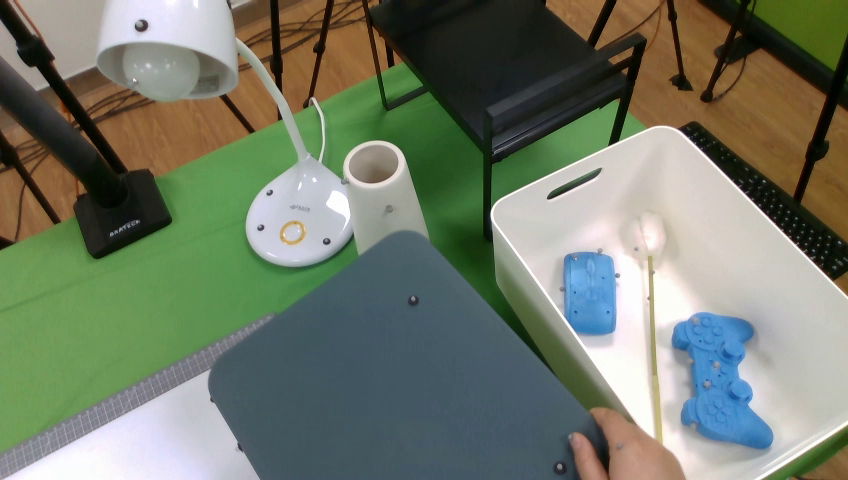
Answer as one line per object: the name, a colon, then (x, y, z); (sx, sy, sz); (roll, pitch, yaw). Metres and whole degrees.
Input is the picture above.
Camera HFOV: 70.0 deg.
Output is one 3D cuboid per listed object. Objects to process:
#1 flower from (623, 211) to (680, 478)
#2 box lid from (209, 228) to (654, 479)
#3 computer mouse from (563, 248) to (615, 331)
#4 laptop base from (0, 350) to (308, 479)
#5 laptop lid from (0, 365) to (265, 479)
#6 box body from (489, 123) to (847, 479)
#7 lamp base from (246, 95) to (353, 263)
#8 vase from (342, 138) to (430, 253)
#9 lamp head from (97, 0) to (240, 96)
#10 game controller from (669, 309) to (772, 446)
flower: (0.278, 0.122, 0.722); (0.044, 0.038, 0.358); (-15, 54, 28)
box lid: (-0.007, 0.170, 0.544); (0.263, 0.015, 0.368); (-36, 63, -13)
computer mouse: (0.206, 0.058, 0.758); (0.062, 0.041, 0.116); (3, 55, 11)
laptop base: (-0.313, 0.300, 0.668); (0.354, 0.023, 0.233); (-28, 65, -12)
laptop lid: (-0.312, 0.297, 0.658); (0.357, 0.013, 0.239); (-27, 62, -11)
box body: (0.264, 0.079, 0.674); (0.254, 0.162, 0.360); (-26, 60, -11)
lamp base: (-0.179, -0.088, 0.803); (0.160, 0.182, 0.177); (1, 56, 5)
vase: (-0.048, -0.036, 0.749); (0.098, 0.202, 0.097); (-3, 57, 5)
lamp head: (-0.213, -0.196, 0.520); (0.112, 0.113, 0.122); (-2, 76, 4)
game controller: (0.336, 0.148, 0.687); (0.097, 0.052, 0.154); (2, 58, 8)
